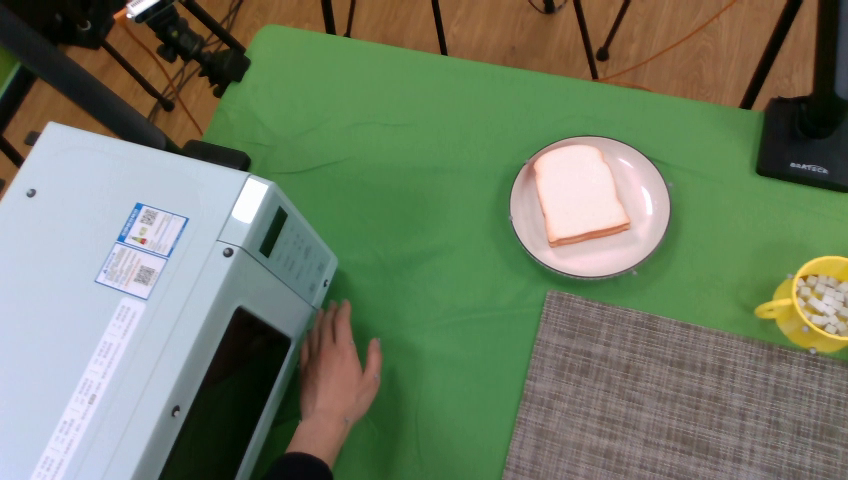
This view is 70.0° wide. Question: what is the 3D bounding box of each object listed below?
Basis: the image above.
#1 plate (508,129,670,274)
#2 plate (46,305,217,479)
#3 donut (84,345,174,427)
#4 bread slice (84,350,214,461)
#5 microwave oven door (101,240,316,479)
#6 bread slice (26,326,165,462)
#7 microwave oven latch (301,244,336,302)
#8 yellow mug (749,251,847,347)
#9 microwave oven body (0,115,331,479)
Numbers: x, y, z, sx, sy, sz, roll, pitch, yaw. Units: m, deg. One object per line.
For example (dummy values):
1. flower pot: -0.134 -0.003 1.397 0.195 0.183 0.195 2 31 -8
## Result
1. plate: 0.217 -0.050 0.813 0.207 0.039 0.206 -3 69 8
2. plate: -0.350 0.184 0.740 0.209 0.038 0.207 -2 71 5
3. donut: -0.347 0.172 0.717 0.099 0.048 0.098 1 63 -2
4. bread slice: -0.348 0.209 0.757 0.104 0.019 0.131 36 54 19
5. microwave oven door: -0.236 0.201 0.658 0.039 0.246 0.354 15 72 15
6. bread slice: -0.366 0.166 0.691 0.107 0.018 0.134 26 67 7
7. microwave oven latch: -0.145 0.042 0.815 0.030 0.030 0.079 19 74 15
8. yellow mug: 0.454 0.072 0.711 0.131 0.064 0.099 -7 67 8
9. microwave oven body: -0.357 0.127 0.711 0.325 0.262 0.439 16 73 14
